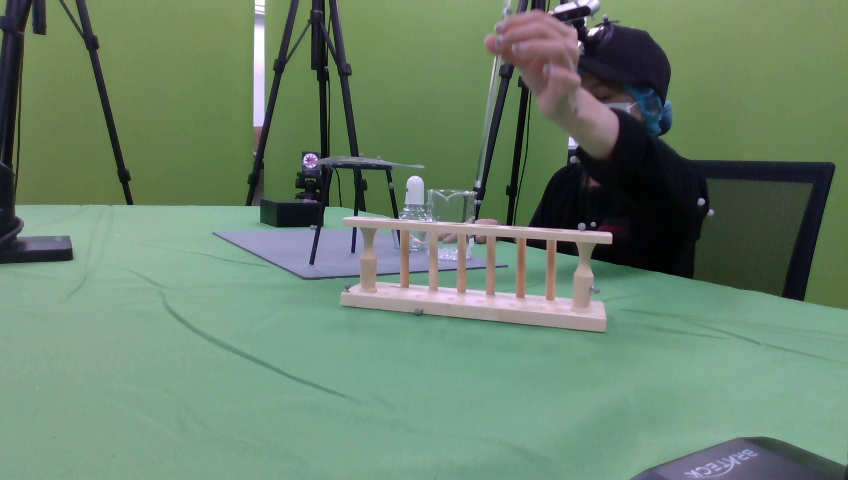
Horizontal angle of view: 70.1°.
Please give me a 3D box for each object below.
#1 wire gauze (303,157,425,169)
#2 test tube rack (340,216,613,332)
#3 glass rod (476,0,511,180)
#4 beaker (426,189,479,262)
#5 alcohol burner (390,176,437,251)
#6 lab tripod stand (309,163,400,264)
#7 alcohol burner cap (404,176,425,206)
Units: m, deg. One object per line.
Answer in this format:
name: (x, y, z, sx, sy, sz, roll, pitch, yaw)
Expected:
wire gauze: (-0.082, -0.102, 0.799, 0.126, 0.011, 0.121, -1, 7, -30)
test tube rack: (0.047, 0.026, 0.568, 0.242, 0.085, 0.067, 4, 7, 13)
glass rod: (0.069, -0.155, 0.580, 0.008, 0.199, 0.008, 9, -3, 1)
beaker: (0.039, -0.022, 0.871, 0.074, 0.100, 0.084, 4, 8, 12)
alcohol burner: (-0.016, -0.042, 0.955, 0.078, 0.119, 0.078, 4, 5, 0)
lab tripod stand: (-0.091, -0.037, 0.813, 0.148, 0.131, 0.148, 1, 6, 0)
alcohol burner cap: (-0.015, -0.077, 0.951, 0.034, 0.048, 0.034, 2, 4, 0)
